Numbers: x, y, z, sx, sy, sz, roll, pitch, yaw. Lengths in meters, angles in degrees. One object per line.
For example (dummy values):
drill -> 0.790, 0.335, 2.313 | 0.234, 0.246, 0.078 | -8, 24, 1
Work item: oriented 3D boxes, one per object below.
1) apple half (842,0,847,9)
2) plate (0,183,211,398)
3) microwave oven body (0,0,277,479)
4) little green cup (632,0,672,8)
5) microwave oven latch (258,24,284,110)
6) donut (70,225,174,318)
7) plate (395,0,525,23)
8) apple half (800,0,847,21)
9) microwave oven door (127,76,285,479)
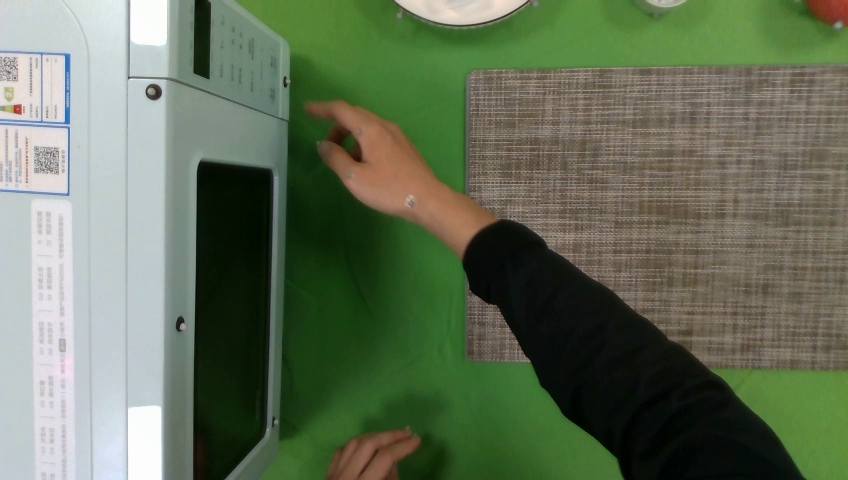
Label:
apple half -> 0.407, -0.245, 0.542 | 0.033, 0.081, 0.081 | -7, 95, 11
plate -> -0.306, 0.048, 0.589 | 0.209, 0.038, 0.209 | 0, 96, 4
microwave oven body -> -0.320, 0.006, 0.534 | 0.326, 0.260, 0.442 | 3, 97, 4
little green cup -> 0.221, -0.252, 0.576 | 0.061, 0.038, 0.061 | 0, 95, 5
microwave oven latch -> -0.155, -0.171, 0.598 | 0.030, 0.029, 0.079 | 7, 97, 4
donut -> -0.288, 0.031, 0.580 | 0.099, 0.048, 0.100 | 4, 117, 8
plate -> 0.037, -0.314, 0.585 | 0.207, 0.039, 0.208 | 0, 96, 5
apple half -> 0.369, -0.239, 0.547 | 0.053, 0.074, 0.081 | -7, 99, 11
microwave oven door -> -0.177, 0.058, 0.522 | 0.039, 0.243, 0.356 | 3, 96, 5
